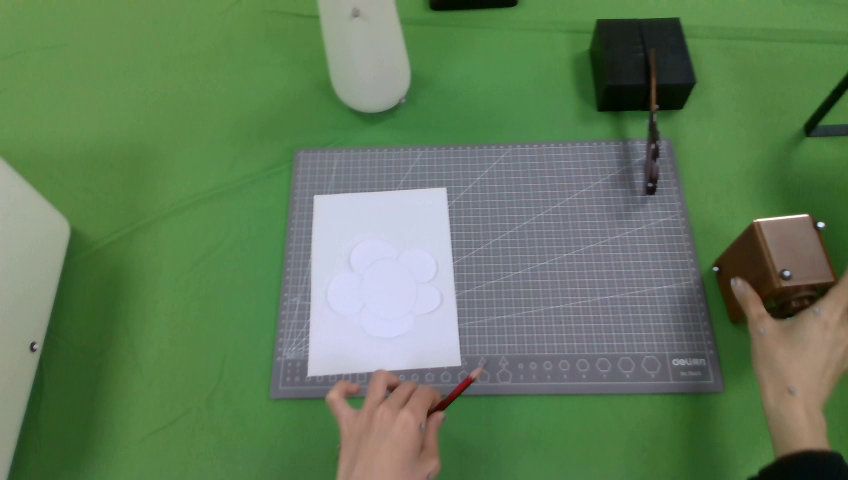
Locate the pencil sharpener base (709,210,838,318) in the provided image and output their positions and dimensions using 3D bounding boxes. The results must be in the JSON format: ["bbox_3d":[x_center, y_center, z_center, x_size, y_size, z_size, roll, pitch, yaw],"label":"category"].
[{"bbox_3d":[0.336,0.029,0.591,0.061,0.108,0.076,-5,66,0],"label":"pencil sharpener base"}]

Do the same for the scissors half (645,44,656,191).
[{"bbox_3d":[0.259,-0.140,0.688,0.012,0.040,0.174,2,83,18],"label":"scissors half"}]

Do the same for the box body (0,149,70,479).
[{"bbox_3d":[-0.520,0.092,0.563,0.254,0.161,0.361,-1,65,2],"label":"box body"}]

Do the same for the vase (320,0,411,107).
[{"bbox_3d":[-0.068,-0.241,0.678,0.098,0.201,0.097,-1,64,3],"label":"vase"}]

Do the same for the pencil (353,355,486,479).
[{"bbox_3d":[-0.014,0.169,0.532,0.194,0.012,0.012,-45,70,2],"label":"pencil"}]

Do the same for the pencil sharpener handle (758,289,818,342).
[{"bbox_3d":[0.337,0.071,0.559,0.036,0.068,0.030,0,65,-11],"label":"pencil sharpener handle"}]

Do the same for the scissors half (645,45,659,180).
[{"bbox_3d":[0.253,-0.146,0.669,0.013,0.040,0.174,3,66,13],"label":"scissors half"}]

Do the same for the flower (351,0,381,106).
[{"bbox_3d":[-0.079,-0.288,0.608,0.044,0.365,0.038,-8,47,2],"label":"flower"}]
